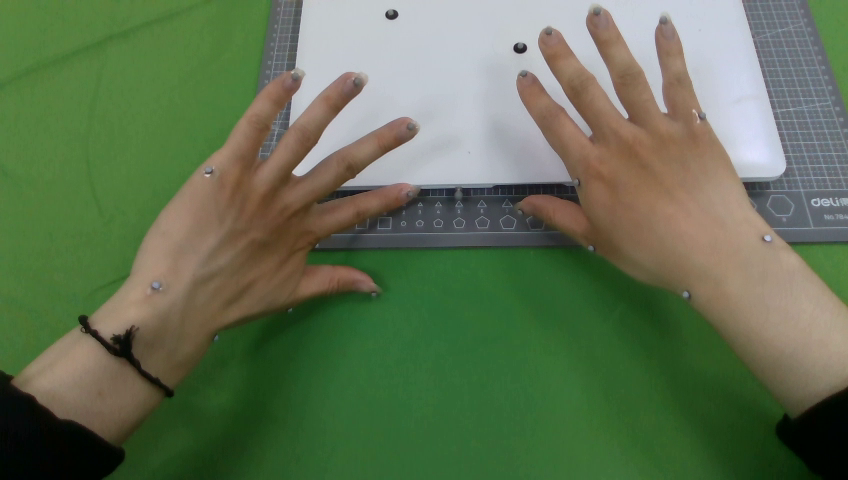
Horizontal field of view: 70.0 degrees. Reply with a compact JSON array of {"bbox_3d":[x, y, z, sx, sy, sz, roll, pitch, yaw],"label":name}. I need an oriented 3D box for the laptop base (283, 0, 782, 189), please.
[{"bbox_3d":[0.075,-0.143,0.478,0.354,0.023,0.234,-1,68,3],"label":"laptop base"}]

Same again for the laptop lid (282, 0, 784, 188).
[{"bbox_3d":[0.074,-0.146,0.466,0.356,0.013,0.240,1,67,3],"label":"laptop lid"}]
